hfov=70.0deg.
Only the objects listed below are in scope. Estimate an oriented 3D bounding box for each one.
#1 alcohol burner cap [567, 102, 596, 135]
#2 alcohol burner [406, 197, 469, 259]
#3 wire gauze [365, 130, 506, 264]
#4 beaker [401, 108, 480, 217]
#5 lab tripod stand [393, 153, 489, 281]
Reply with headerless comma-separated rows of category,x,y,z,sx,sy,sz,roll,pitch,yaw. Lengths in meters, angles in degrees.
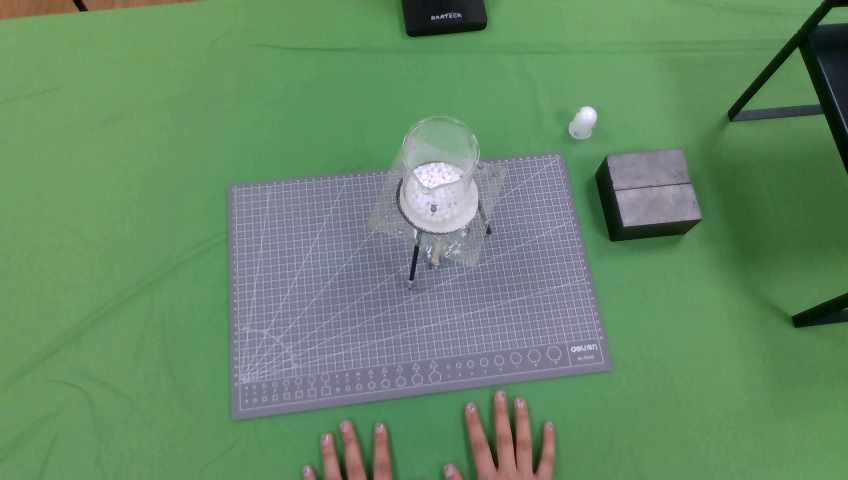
alcohol burner cap,0.216,-0.168,0.823,0.034,0.048,0.033,1,70,-1
alcohol burner,0.017,-0.021,0.721,0.078,0.119,0.077,1,71,-3
wire gauze,0.015,-0.051,0.652,0.125,0.011,0.121,22,72,3
beaker,0.012,-0.069,0.607,0.074,0.101,0.083,17,70,4
lab tripod stand,0.014,-0.034,0.715,0.148,0.132,0.147,1,68,-3
